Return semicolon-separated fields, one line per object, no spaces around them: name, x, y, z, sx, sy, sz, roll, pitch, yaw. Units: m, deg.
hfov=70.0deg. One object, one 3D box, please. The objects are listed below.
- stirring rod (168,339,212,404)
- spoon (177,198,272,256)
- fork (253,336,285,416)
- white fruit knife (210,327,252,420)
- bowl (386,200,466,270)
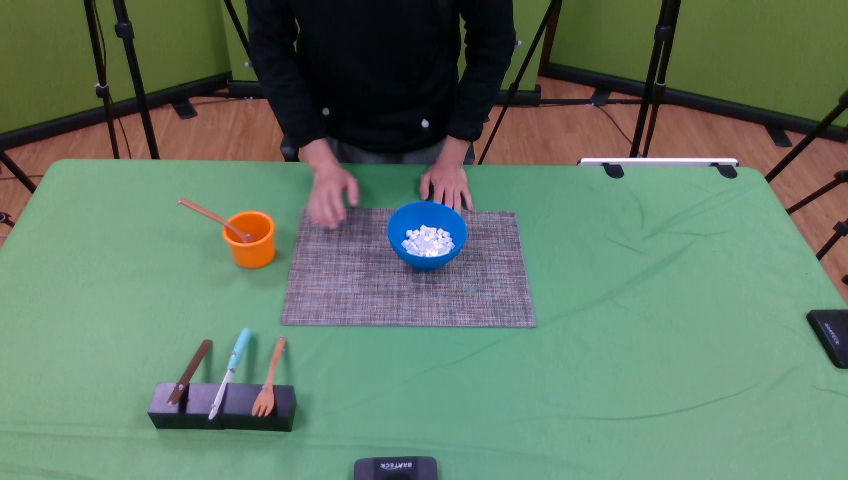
stirring rod;-0.360;0.199;0.939;0.014;0.006;0.175;9;20;-6
spoon;-0.361;-0.025;1.107;0.021;0.195;0.041;-31;37;29
fork;-0.236;0.206;0.938;0.028;0.019;0.206;-1;26;-3
white fruit knife;-0.298;0.200;0.937;0.016;0.027;0.206;-1;30;0
bowl;0.002;0.004;1.150;0.151;0.077;0.150;2;46;-2
